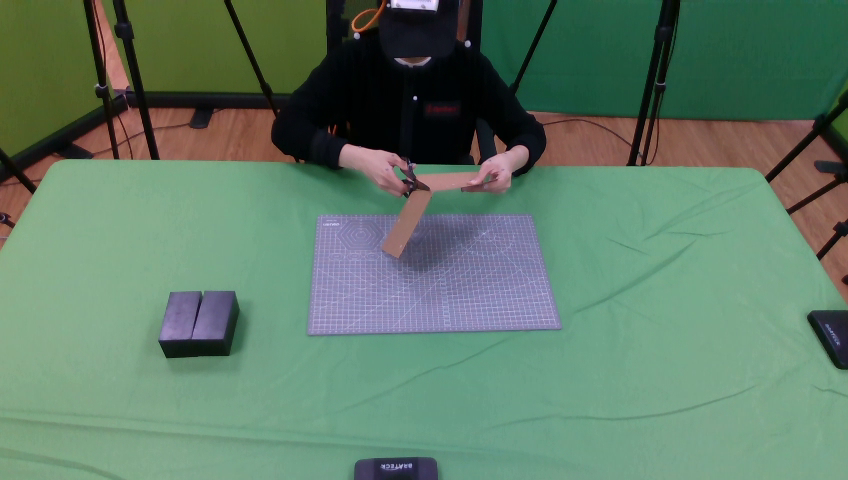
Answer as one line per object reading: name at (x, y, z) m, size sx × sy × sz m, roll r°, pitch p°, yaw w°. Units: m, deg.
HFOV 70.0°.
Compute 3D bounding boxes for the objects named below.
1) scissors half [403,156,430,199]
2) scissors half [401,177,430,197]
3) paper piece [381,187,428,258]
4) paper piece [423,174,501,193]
scissors half at (-0.013, -0.118, 1.158) m, size 0.013 × 0.040 × 0.174 m, roll 3°, pitch 31°, yaw -20°
scissors half at (-0.016, -0.098, 1.165) m, size 0.013 × 0.040 × 0.174 m, roll -2°, pitch 8°, yaw -18°
paper piece at (-0.036, -0.035, 1.124) m, size 0.009 × 0.135 × 0.138 m, roll 26°, pitch 89°, yaw -13°
paper piece at (0.060, -0.107, 1.145) m, size 0.136 × 0.004 × 0.135 m, roll -11°, pitch 14°, yaw -15°
